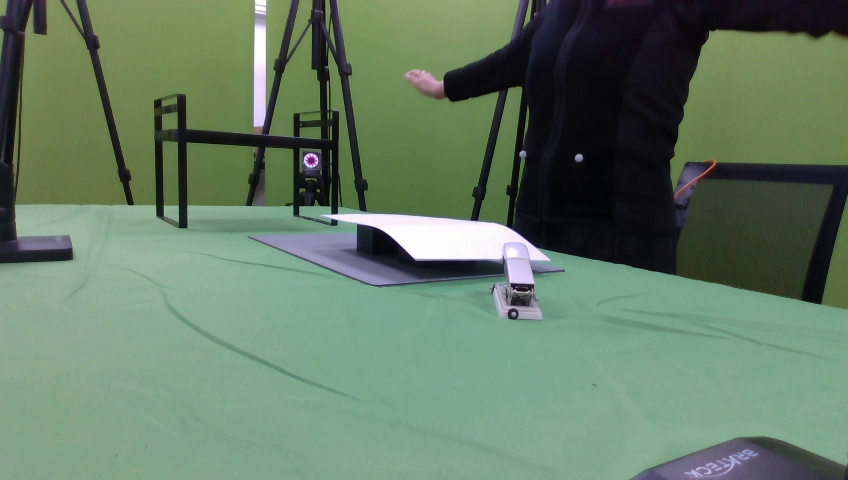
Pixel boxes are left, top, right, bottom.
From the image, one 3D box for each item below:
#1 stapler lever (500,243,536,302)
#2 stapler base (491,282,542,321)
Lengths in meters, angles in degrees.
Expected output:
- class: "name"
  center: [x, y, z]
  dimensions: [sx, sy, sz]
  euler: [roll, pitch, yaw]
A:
- class: "stapler lever"
  center: [0.093, 0.030, 0.608]
  dimensions: [0.027, 0.040, 0.118]
  euler: [2, 9, 3]
- class: "stapler base"
  center: [0.092, 0.055, 0.613]
  dimensions: [0.041, 0.024, 0.130]
  euler: [2, 9, 3]
